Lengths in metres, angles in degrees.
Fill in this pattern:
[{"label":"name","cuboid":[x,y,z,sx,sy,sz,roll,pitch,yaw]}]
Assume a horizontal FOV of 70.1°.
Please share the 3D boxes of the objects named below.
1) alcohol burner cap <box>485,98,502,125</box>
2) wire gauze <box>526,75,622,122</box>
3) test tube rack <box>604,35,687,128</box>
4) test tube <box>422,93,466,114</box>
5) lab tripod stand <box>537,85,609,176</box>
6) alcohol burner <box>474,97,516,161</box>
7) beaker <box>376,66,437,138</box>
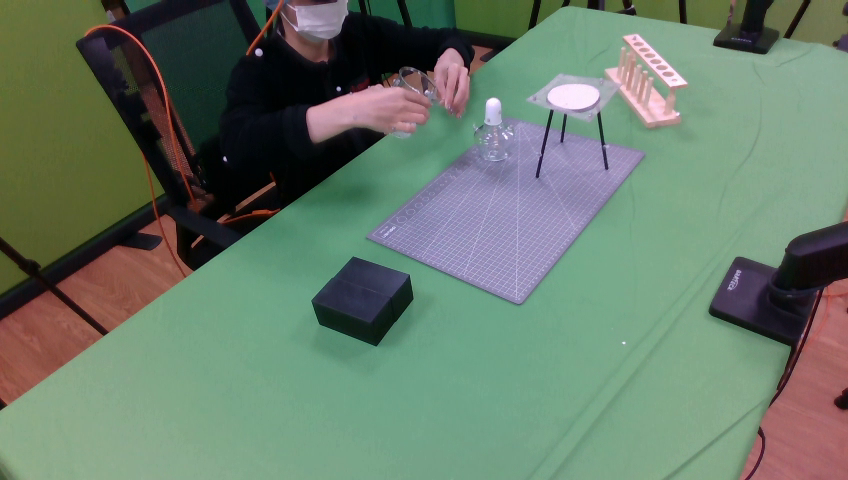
[{"label":"alcohol burner cap","cuboid":[0.126,-0.234,1.097,0.034,0.048,0.033,-3,39,3]},{"label":"wire gauze","cuboid":[0.255,-0.248,1.030,0.124,0.011,0.122,24,51,32]},{"label":"test tube rack","cuboid":[0.447,-0.330,1.241,0.067,0.085,0.241,-9,41,-2]},{"label":"test tube","cuboid":[0.041,-0.257,1.140,0.017,0.017,0.151,21,12,29]},{"label":"lab tripod stand","cuboid":[0.259,-0.192,1.068,0.148,0.132,0.147,-4,42,4]},{"label":"alcohol burner","cuboid":[0.131,-0.208,1.121,0.078,0.119,0.077,-6,40,5]},{"label":"beaker","cuboid":[-0.031,-0.232,1.034,0.073,0.084,0.100,21,75,26]}]
